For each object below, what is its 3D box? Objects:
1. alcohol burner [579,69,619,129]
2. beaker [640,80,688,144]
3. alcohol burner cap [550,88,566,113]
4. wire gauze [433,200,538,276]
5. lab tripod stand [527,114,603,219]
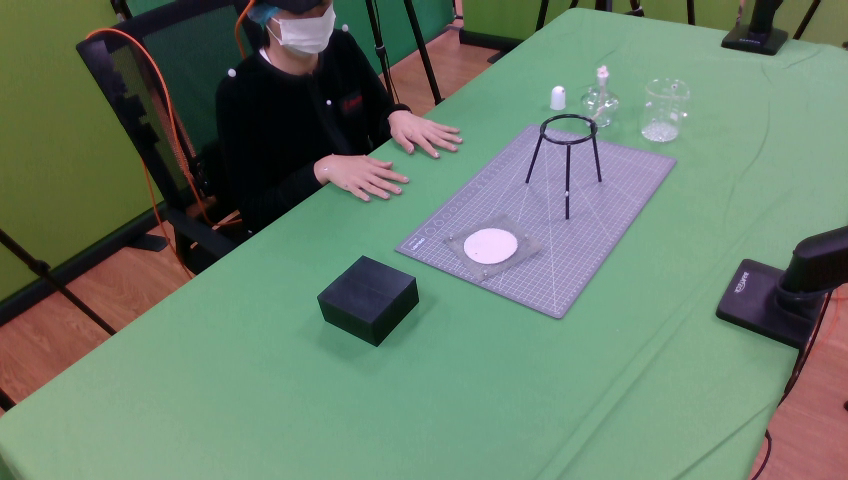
[{"bbox_3d":[0.345,-0.280,1.184,0.078,0.119,0.077,-4,42,4],"label":"alcohol burner"},{"bbox_3d":[0.446,-0.235,1.126,0.074,0.101,0.083,-34,47,-27],"label":"beaker"},{"bbox_3d":[0.282,-0.296,1.270,0.034,0.048,0.033,-4,41,4],"label":"alcohol burner cap"},{"bbox_3d":[0.096,-0.004,0.949,0.120,0.011,0.125,29,58,33],"label":"wire gauze"},{"bbox_3d":[0.234,-0.129,1.002,0.148,0.132,0.147,-6,40,6],"label":"lab tripod stand"}]
